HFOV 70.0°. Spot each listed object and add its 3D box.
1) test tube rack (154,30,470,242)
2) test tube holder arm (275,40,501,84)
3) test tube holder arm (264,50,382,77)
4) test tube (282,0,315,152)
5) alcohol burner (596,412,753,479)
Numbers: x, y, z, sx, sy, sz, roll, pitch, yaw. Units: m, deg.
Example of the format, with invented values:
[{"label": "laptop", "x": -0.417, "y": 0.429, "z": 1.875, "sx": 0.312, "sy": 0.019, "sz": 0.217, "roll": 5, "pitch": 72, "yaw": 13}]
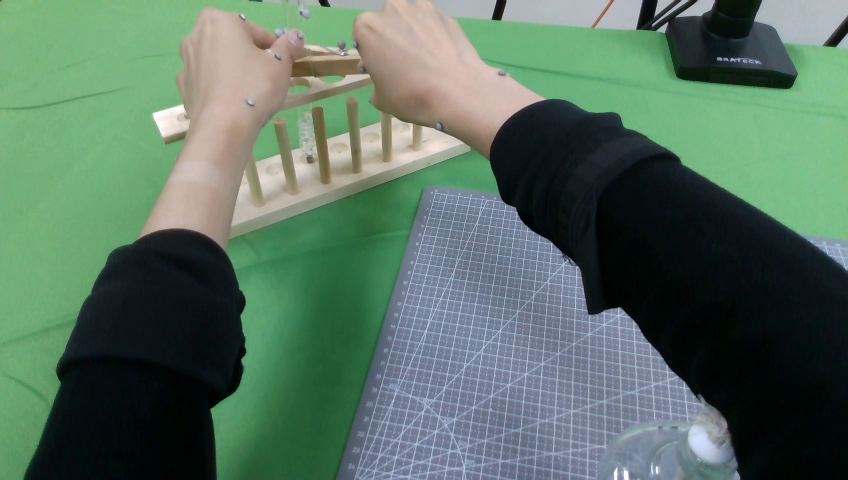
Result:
[{"label": "test tube rack", "x": -0.079, "y": -0.091, "z": 0.500, "sx": 0.243, "sy": 0.086, "sz": 0.066, "roll": -23, "pitch": 51, "yaw": -20}, {"label": "test tube holder arm", "x": -0.030, "y": -0.130, "z": 0.441, "sx": 0.177, "sy": 0.015, "sz": 0.013, "roll": 11, "pitch": 52, "yaw": 18}, {"label": "test tube holder arm", "x": -0.074, "y": -0.131, "z": 0.449, "sx": 0.088, "sy": 0.015, "sz": 0.010, "roll": -2, "pitch": 47, "yaw": 7}, {"label": "test tube", "x": -0.096, "y": -0.129, "z": 0.468, "sx": 0.017, "sy": 0.151, "sz": 0.017, "roll": 3, "pitch": 47, "yaw": -3}, {"label": "alcohol burner", "x": 0.125, "y": 0.113, "z": 0.291, "sx": 0.078, "sy": 0.120, "sz": 0.077, "roll": -1, "pitch": 48, "yaw": 1}]
